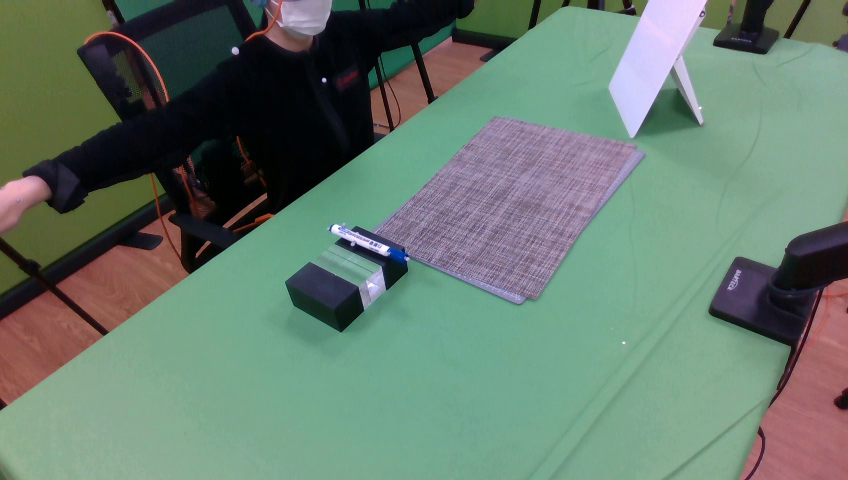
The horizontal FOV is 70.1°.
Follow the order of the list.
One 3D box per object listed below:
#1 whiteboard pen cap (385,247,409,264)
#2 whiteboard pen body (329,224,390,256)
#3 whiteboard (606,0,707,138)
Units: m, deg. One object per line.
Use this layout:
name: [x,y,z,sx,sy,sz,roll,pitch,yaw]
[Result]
whiteboard pen cap: [-0.039,0.022,0.878,0.033,0.018,0.018,24,49,29]
whiteboard pen body: [-0.088,0.003,0.909,0.139,0.017,0.017,21,48,30]
whiteboard: [0.496,-0.359,1.147,0.144,0.305,0.216,11,40,-7]
